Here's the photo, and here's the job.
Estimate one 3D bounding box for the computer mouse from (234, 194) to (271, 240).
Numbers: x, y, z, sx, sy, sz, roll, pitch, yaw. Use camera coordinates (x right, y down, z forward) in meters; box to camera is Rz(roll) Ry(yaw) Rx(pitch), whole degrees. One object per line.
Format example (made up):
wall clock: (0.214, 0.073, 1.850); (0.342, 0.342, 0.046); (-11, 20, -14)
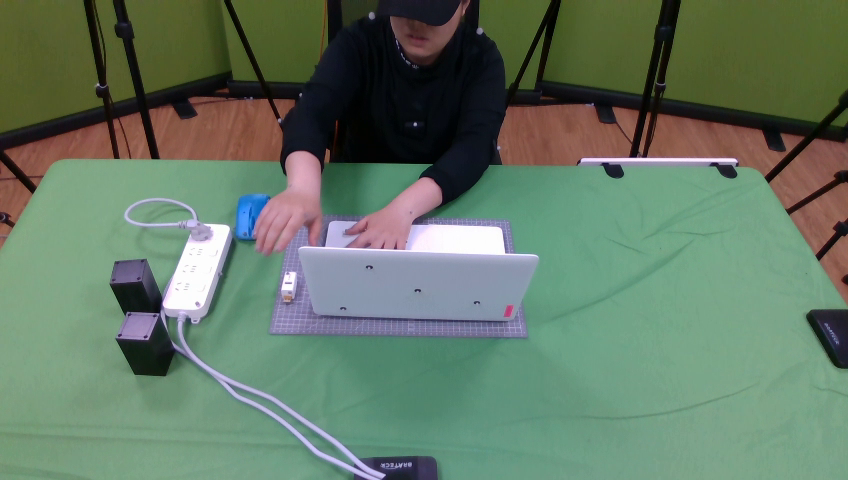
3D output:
computer mouse: (-0.341, -0.049, 1.207); (0.063, 0.041, 0.116); (0, 50, -7)

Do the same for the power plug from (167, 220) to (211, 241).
power plug: (-0.438, -0.017, 1.143); (0.072, 0.053, 0.035); (9, 43, 6)

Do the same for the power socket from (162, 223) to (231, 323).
power socket: (-0.412, 0.051, 1.107); (0.072, 0.033, 0.225); (4, 46, -2)

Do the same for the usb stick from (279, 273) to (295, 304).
usb stick: (-0.246, 0.088, 1.085); (0.021, 0.027, 0.059); (4, 46, -2)

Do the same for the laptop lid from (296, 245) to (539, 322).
laptop lid: (-0.013, 0.076, 0.962); (0.357, 0.243, 0.013); (3, 58, -4)

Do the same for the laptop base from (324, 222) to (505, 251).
laptop base: (-0.018, 0.055, 1.144); (0.354, 0.023, 0.234); (2, 42, -2)
